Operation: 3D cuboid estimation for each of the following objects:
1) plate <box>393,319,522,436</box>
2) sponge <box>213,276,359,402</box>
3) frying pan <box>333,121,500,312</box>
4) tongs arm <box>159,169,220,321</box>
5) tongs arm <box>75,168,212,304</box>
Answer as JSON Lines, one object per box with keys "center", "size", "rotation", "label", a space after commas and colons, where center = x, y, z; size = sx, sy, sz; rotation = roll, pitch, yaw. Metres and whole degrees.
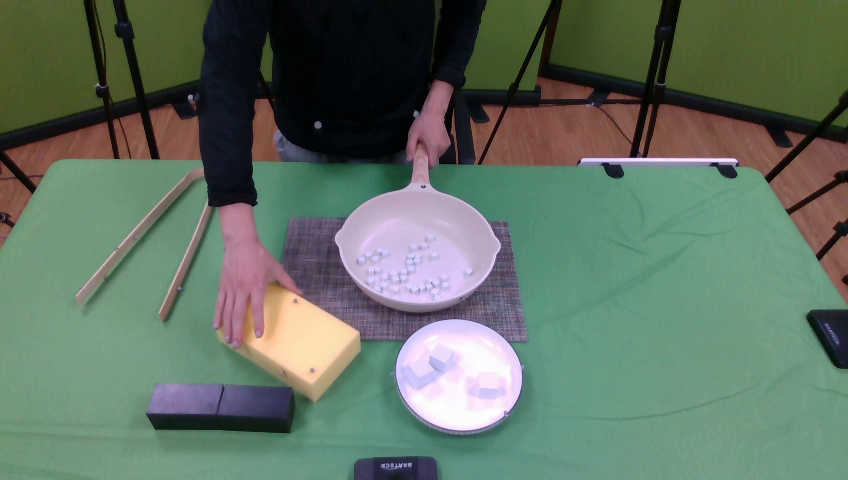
{"center": [0.053, 0.222, 0.979], "size": [0.208, 0.039, 0.206], "rotation": [3, 46, -2], "label": "plate"}
{"center": [-0.225, 0.158, 0.998], "size": [0.206, 0.061, 0.118], "rotation": [27, 52, 18], "label": "sponge"}
{"center": [-0.011, -0.063, 1.195], "size": [0.307, 0.103, 0.485], "rotation": [4, 55, -2], "label": "frying pan"}
{"center": [-0.446, -0.005, 1.164], "size": [0.028, 0.028, 0.385], "rotation": [1, 46, 0], "label": "tongs arm"}
{"center": [-0.525, -0.021, 1.167], "size": [0.051, 0.026, 0.383], "rotation": [13, 45, 7], "label": "tongs arm"}
